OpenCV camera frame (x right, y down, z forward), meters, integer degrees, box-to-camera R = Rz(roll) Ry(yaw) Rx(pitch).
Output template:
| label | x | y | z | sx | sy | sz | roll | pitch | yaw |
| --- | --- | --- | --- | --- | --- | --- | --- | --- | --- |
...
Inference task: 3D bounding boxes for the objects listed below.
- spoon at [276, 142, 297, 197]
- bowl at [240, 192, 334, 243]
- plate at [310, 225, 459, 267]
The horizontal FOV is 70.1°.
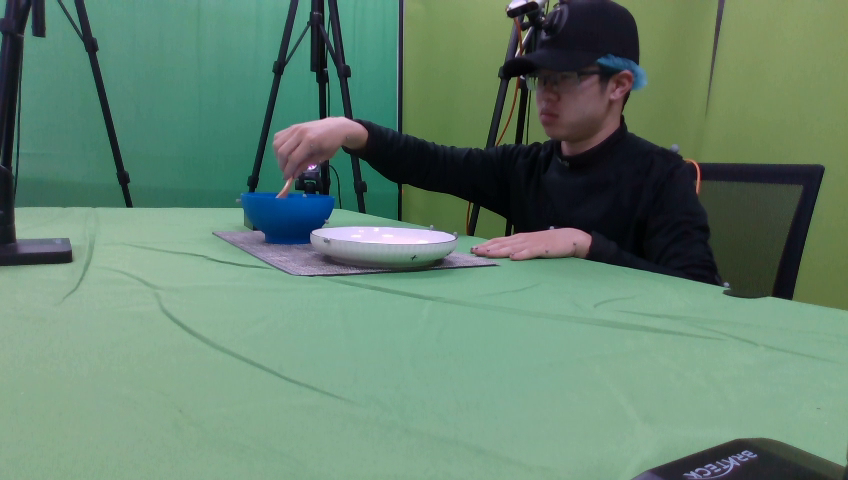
| label | x | y | z | sx | sy | sz | roll | pitch | yaw |
| --- | --- | --- | --- | --- | --- | --- | --- | --- | --- |
| spoon | -0.235 | -0.102 | 1.038 | 0.021 | 0.042 | 0.193 | -1 | 49 | 7 |
| bowl | -0.223 | -0.037 | 0.992 | 0.151 | 0.077 | 0.151 | 2 | 7 | 0 |
| plate | -0.055 | 0.008 | 0.851 | 0.208 | 0.039 | 0.207 | 2 | 7 | 0 |
